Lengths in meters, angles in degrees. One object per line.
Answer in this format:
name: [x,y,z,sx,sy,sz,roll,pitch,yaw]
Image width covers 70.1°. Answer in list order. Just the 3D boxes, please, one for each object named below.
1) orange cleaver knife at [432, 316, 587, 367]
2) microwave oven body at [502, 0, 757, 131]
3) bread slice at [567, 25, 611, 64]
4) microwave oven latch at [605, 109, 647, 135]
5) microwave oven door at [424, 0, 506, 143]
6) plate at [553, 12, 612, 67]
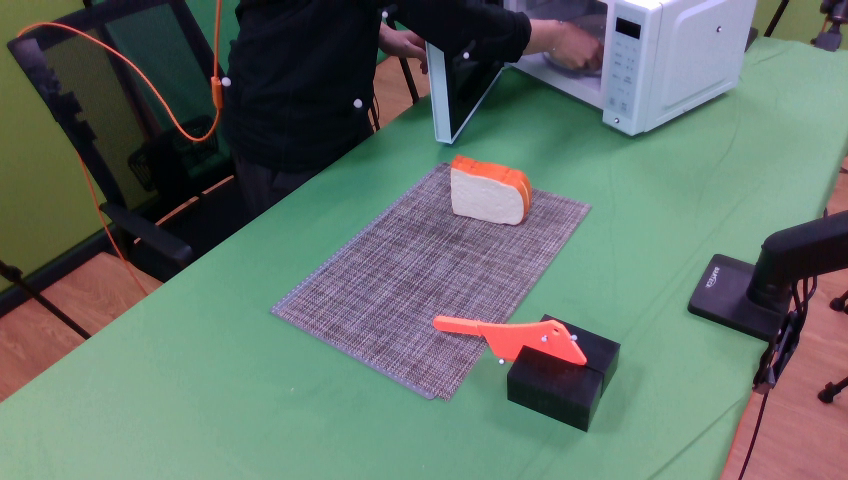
orange cleaver knife: [0.101,0.127,0.761,0.210,0.077,0.012,-1,34,40]
microwave oven body: [0.396,-0.448,1.248,0.327,0.261,0.437,-27,44,-21]
bread slice: [0.363,-0.429,1.329,0.107,0.018,0.133,1,51,4]
microwave oven latch: [0.379,-0.225,1.139,0.030,0.029,0.078,-26,43,-19]
microwave oven door: [0.093,-0.393,1.218,0.039,0.245,0.356,11,44,21]
plate: [0.385,-0.431,1.318,0.208,0.039,0.206,-2,46,3]
